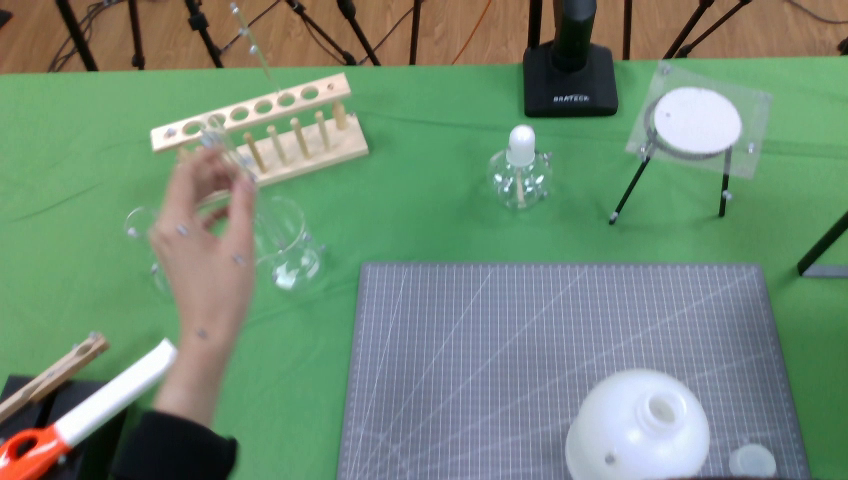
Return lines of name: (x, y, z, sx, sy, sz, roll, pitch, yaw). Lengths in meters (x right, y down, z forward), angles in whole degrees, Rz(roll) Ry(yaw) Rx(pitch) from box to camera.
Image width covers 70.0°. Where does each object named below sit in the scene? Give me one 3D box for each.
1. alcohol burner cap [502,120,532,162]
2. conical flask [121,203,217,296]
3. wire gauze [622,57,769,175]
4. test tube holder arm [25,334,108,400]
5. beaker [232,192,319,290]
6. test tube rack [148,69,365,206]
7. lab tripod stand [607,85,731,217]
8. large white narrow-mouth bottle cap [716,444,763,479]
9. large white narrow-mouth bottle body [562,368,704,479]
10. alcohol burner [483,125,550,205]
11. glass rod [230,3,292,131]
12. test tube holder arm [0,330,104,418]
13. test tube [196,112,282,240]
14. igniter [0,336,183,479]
alcohol burner cap: (0.104, -0.112, 0.667, 0.034, 0.048, 0.033, -2, 60, 4)
conical flask: (-0.288, 0.006, 0.674, 0.075, 0.123, 0.074, -2, 61, 4)
wire gauze: (0.277, -0.127, 0.613, 0.121, 0.011, 0.124, 20, 66, 13)
test tube holder arm: (-0.365, 0.130, 0.617, 0.088, 0.015, 0.010, -39, 63, -16)
beaker: (-0.162, 0.008, 0.675, 0.074, 0.101, 0.083, 14, 64, 13)
test tube rack: (-0.204, -0.127, 0.760, 0.242, 0.086, 0.066, -18, 61, -5)
lab tripod stand: (0.276, -0.093, 0.672, 0.148, 0.132, 0.147, -1, 60, 3)
large white narrow-mouth bottle cap: (0.296, 0.211, 0.567, 0.037, 0.024, 0.037, -2, 63, 4)
large white narrow-mouth bottle body: (0.175, 0.162, 0.506, 0.102, 0.196, 0.101, -2, 63, 5)
alcohol burner: (0.108, -0.093, 0.699, 0.078, 0.120, 0.077, -1, 60, 3)
glass rod: (-0.185, -0.191, 0.717, 0.008, 0.202, 0.008, -6, 55, 8)
test tube holder arm: (-0.402, 0.154, 0.607, 0.178, 0.015, 0.013, -39, 64, -16)
test tube: (-0.140, -0.043, 0.474, 0.017, 0.151, 0.017, -3, 58, 5)
igniter: (-0.359, 0.193, 0.579, 0.276, 0.025, 0.057, -40, 67, -19)
